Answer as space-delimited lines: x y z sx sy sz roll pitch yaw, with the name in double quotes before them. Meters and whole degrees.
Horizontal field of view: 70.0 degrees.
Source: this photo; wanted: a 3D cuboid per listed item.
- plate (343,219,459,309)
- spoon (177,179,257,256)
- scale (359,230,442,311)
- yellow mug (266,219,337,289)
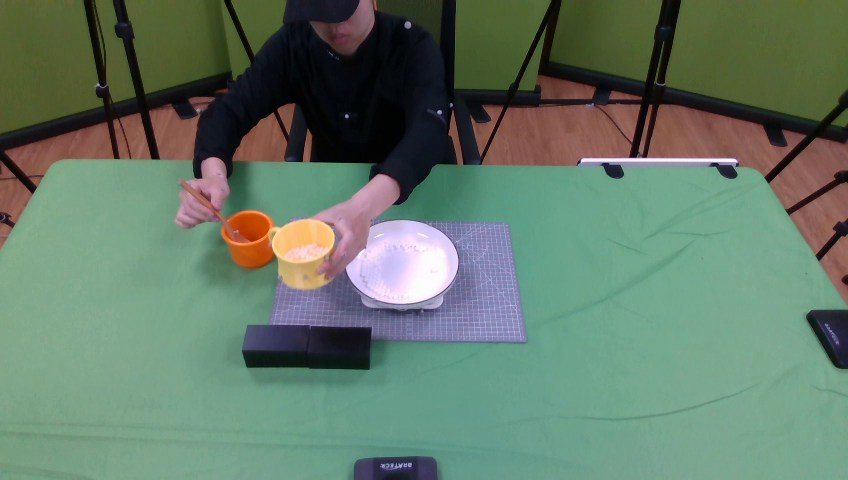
"plate" -0.041 0.046 1.094 0.209 0.038 0.208 2 46 -1
"spoon" -0.365 -0.039 1.077 0.021 0.195 0.041 -24 36 13
"scale" -0.043 0.048 1.137 0.149 0.032 0.199 2 46 -3
"yellow mug" -0.208 0.016 0.993 0.130 0.064 0.099 23 48 21
